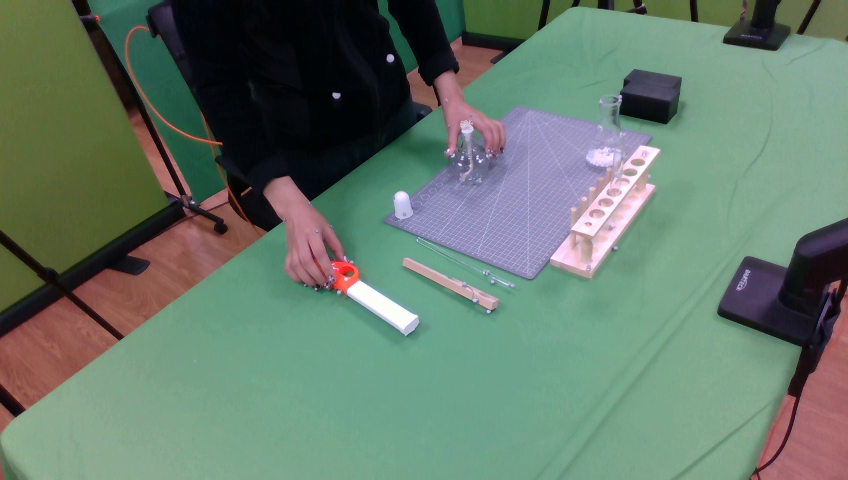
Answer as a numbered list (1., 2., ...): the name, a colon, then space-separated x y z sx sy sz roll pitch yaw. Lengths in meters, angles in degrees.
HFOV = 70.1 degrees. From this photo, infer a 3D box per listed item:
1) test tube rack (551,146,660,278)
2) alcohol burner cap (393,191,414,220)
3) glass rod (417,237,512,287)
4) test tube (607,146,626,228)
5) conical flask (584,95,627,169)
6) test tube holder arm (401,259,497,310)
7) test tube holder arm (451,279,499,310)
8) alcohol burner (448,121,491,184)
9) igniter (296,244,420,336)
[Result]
1. test tube rack: 0.286 -0.053 0.943 0.066 0.085 0.243 21 49 32
2. alcohol burner cap: -0.037 -0.062 1.044 0.034 0.048 0.033 -5 41 5
3. glass rod: 0.059 0.032 0.945 0.198 0.008 0.008 26 52 38
4. test tube: 0.283 -0.074 0.892 0.017 0.151 0.017 -5 44 6
5. conical flask: 0.323 -0.192 1.066 0.075 0.122 0.075 -6 40 5
6. test tube holder arm: 0.033 0.064 0.903 0.177 0.015 0.013 23 15 33
7. test tube holder arm: 0.071 0.079 0.882 0.087 0.015 0.010 23 15 34
8. alcohol burner: 0.081 -0.160 1.083 0.078 0.119 0.077 -4 40 4
9. igniter: -0.112 0.068 0.921 0.274 0.025 0.057 28 53 37
